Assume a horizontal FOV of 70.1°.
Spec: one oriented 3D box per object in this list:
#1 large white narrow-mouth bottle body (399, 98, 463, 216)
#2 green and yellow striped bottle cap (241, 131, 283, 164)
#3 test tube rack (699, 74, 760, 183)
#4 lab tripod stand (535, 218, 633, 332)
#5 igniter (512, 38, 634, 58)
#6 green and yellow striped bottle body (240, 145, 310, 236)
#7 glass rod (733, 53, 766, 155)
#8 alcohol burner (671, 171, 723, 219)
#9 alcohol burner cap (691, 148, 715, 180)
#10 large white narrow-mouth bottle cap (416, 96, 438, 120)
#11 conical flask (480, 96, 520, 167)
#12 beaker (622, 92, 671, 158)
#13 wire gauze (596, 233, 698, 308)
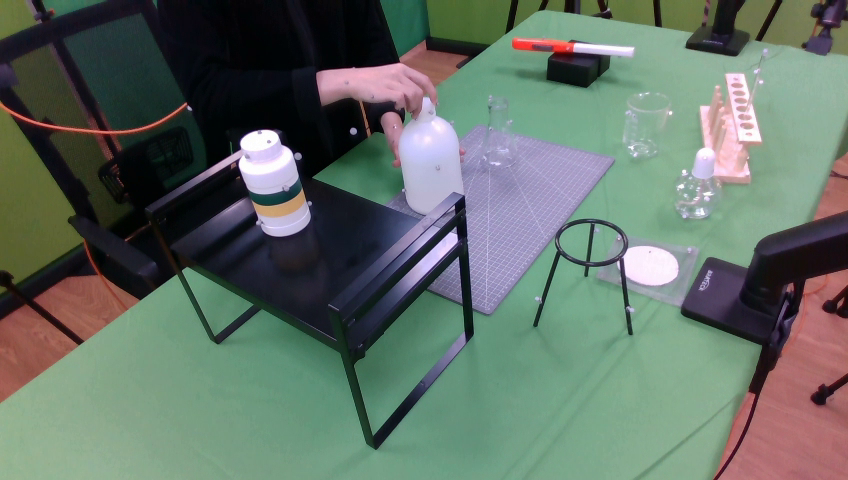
[{"bbox_3d":[0.010,-0.142,1.004,0.102,0.195,0.101,-3,40,3],"label":"large white narrow-mouth bottle body"},{"bbox_3d":[-0.187,-0.107,0.695,0.045,0.020,0.045,-3,39,3],"label":"green and yellow striped bottle cap"},{"bbox_3d":[0.547,-0.208,1.095,0.066,0.085,0.242,6,42,15],"label":"test tube rack"},{"bbox_3d":[0.215,0.050,0.803,0.148,0.132,0.147,-4,42,4],"label":"lab tripod stand"},{"bbox_3d":[0.328,-0.433,1.361,0.275,0.025,0.057,12,33,20],"label":"igniter"},{"bbox_3d":[-0.181,-0.069,0.729,0.063,0.120,0.063,-4,40,4],"label":"green and yellow striped bottle body"},{"bbox_3d":[0.540,-0.220,1.007,0.008,0.201,0.008,-5,46,6],"label":"glass rod"},{"bbox_3d":[0.434,-0.093,0.955,0.078,0.119,0.077,-3,43,3],"label":"alcohol burner"},{"bbox_3d":[0.432,-0.120,0.930,0.034,0.048,0.033,-7,48,8],"label":"alcohol burner cap"},{"bbox_3d":[0.004,-0.207,0.949,0.038,0.024,0.037,-3,40,3],"label":"large white narrow-mouth bottle cap"},{"bbox_3d":[0.138,-0.201,1.111,0.075,0.122,0.075,-4,41,4],"label":"conical flask"},{"bbox_3d":[0.402,-0.210,1.106,0.074,0.101,0.083,-9,40,-2],"label":"beaker"},{"bbox_3d":[0.331,0.038,0.897,0.124,0.011,0.121,18,47,26],"label":"wire gauze"}]
